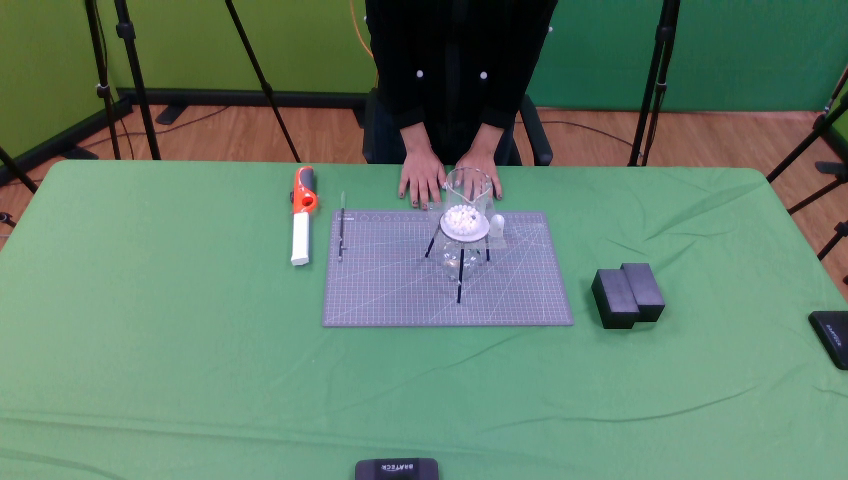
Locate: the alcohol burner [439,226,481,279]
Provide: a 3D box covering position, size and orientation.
[{"bbox_3d":[0.068,0.017,1.119,0.078,0.119,0.077,3,47,-3],"label":"alcohol burner"}]

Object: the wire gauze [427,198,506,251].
[{"bbox_3d":[0.072,-0.027,1.057,0.125,0.011,0.120,-1,49,-8],"label":"wire gauze"}]

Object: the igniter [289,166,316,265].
[{"bbox_3d":[-0.248,-0.058,1.233,0.057,0.025,0.274,-9,47,1],"label":"igniter"}]

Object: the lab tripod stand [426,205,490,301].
[{"bbox_3d":[0.069,0.017,1.106,0.148,0.132,0.147,3,47,-3],"label":"lab tripod stand"}]

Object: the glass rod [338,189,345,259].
[{"bbox_3d":[-0.166,-0.036,1.227,0.008,0.008,0.198,-1,46,-4],"label":"glass rod"}]

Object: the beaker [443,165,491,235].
[{"bbox_3d":[0.070,-0.062,1.023,0.074,0.101,0.083,-2,48,-6],"label":"beaker"}]

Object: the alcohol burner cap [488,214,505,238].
[{"bbox_3d":[0.147,-0.031,1.221,0.034,0.048,0.033,2,46,-2],"label":"alcohol burner cap"}]
